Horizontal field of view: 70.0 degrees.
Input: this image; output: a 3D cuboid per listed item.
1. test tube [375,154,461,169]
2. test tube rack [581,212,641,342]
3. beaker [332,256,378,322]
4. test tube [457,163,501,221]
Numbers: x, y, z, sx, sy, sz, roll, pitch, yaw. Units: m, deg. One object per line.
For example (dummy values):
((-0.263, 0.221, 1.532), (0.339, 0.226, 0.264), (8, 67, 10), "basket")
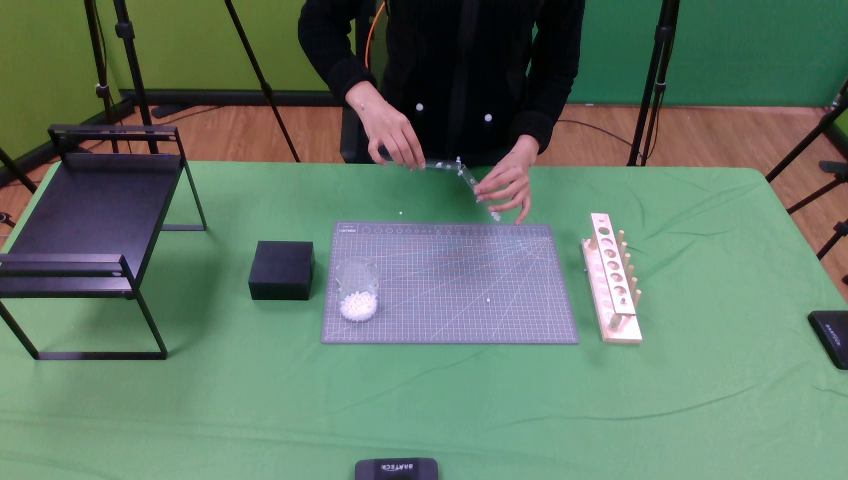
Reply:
((-0.010, -0.137, 1.063), (0.150, 0.017, 0.017), (4, 46, -5), "test tube")
((0.351, 0.064, 1.120), (0.067, 0.085, 0.241), (3, 46, -1), "test tube rack")
((-0.114, 0.089, 1.047), (0.083, 0.101, 0.074), (30, 51, 21), "beaker")
((0.103, -0.086, 1.116), (0.017, 0.151, 0.017), (-23, 40, 22), "test tube")
